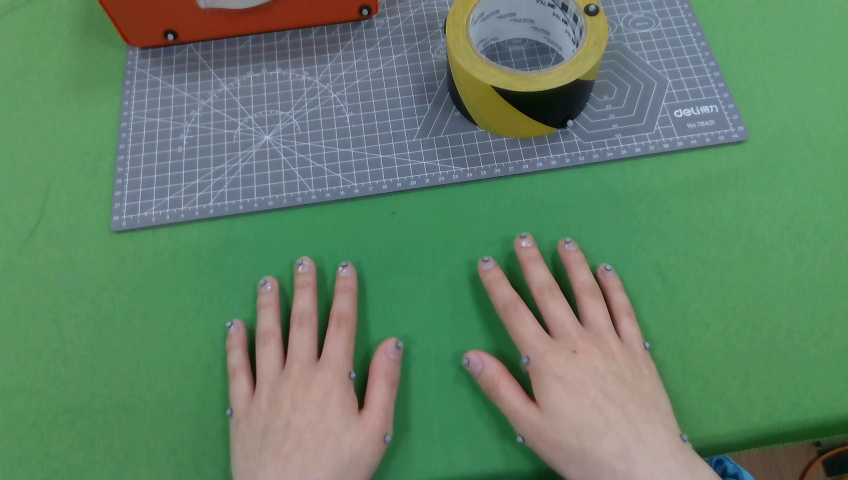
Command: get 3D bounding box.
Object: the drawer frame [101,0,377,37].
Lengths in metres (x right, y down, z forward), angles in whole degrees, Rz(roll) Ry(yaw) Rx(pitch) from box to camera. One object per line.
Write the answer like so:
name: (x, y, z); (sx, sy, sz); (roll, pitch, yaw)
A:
drawer frame: (-0.149, -0.277, 0.485); (0.202, 0.083, 0.211); (-9, 65, -1)

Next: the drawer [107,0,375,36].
drawer: (-0.147, -0.275, 0.485); (0.194, 0.074, 0.210); (-8, 66, -1)

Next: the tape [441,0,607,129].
tape: (0.071, -0.139, 0.433); (0.117, 0.053, 0.116); (-1, 66, 3)
